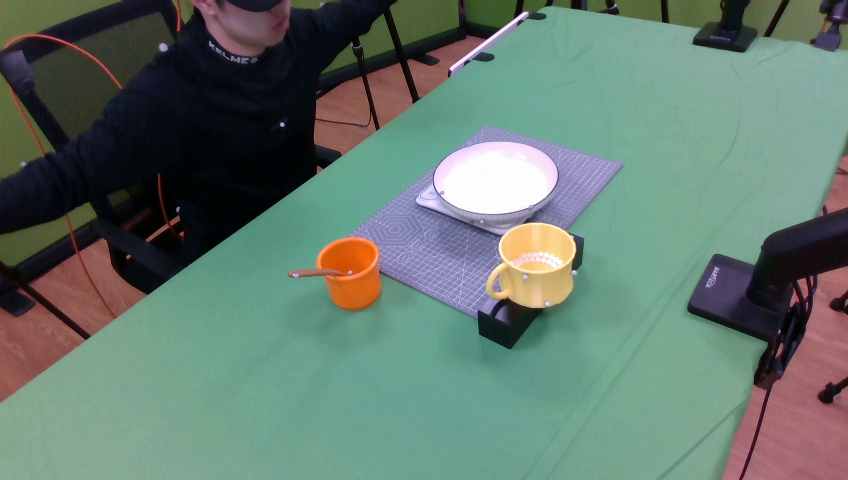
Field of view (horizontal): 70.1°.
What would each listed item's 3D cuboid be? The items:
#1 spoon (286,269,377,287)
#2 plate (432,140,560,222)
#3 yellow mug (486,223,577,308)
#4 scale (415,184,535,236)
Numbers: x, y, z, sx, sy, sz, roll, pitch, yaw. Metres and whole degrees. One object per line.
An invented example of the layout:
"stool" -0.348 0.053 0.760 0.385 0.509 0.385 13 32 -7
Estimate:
"spoon" -0.125 0.050 0.831 0.041 0.195 0.021 22 92 28
"plate" 0.118 -0.094 0.999 0.209 0.038 0.208 -4 41 4
"yellow mug" 0.136 0.038 0.793 0.131 0.064 0.099 -25 43 -19
"scale" 0.099 -0.080 1.035 0.199 0.032 0.149 23 48 31
